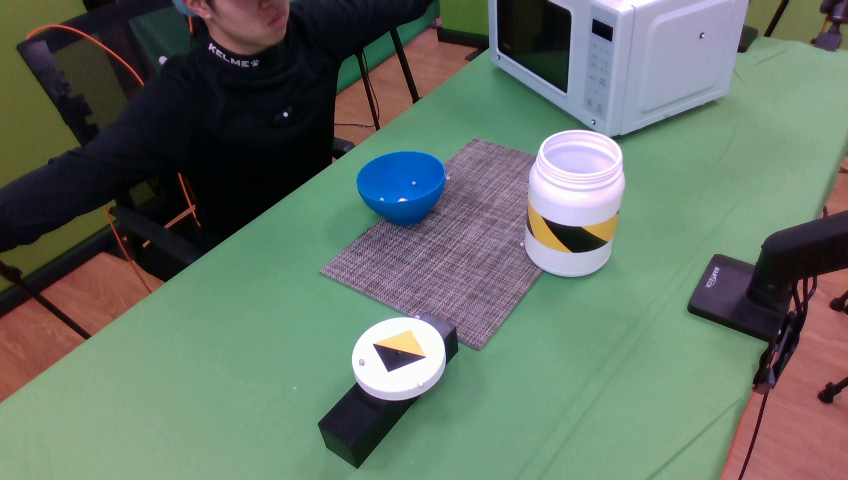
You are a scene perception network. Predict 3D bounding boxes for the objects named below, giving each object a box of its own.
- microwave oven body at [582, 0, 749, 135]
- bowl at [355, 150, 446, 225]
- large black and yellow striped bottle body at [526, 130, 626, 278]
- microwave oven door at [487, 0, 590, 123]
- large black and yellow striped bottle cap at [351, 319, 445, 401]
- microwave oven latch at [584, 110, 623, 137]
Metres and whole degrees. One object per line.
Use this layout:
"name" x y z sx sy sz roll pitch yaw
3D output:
"microwave oven body" 0.382 -0.444 1.246 0.327 0.261 0.437 -22 42 -16
"bowl" -0.035 -0.078 1.017 0.151 0.077 0.150 -4 40 4
"large black and yellow striped bottle body" 0.216 -0.051 0.870 0.131 0.185 0.130 -2 43 2
"microwave oven door" 0.231 -0.420 1.230 0.039 0.245 0.352 -22 43 -16
"large black and yellow striped bottle cap" -0.031 0.143 0.735 0.115 0.019 0.114 -3 40 3
"microwave oven latch" 0.337 -0.222 1.142 0.030 0.029 0.078 -21 42 -14
